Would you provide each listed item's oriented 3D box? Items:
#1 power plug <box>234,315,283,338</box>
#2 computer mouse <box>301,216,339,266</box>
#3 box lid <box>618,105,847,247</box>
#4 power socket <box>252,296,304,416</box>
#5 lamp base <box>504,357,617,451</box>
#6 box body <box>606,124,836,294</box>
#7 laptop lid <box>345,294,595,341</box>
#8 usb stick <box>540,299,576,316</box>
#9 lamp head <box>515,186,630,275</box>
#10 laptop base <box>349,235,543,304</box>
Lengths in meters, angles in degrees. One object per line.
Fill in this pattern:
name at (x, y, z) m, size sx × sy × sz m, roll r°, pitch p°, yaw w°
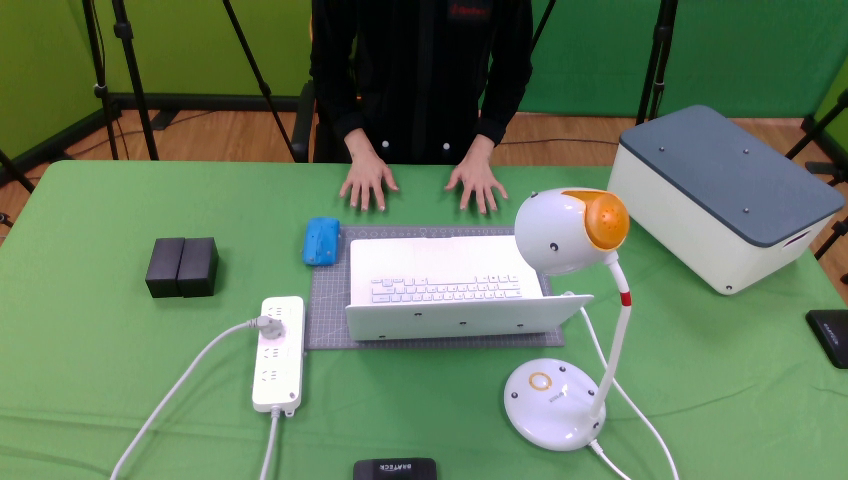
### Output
power plug at (-0.269, 0.143, 1.000) m, size 0.072 × 0.053 × 0.035 m, roll 4°, pitch 47°, yaw 3°
computer mouse at (-0.200, -0.002, 1.169) m, size 0.063 × 0.041 × 0.116 m, roll 3°, pitch 50°, yaw -3°
box lid at (0.587, -0.138, 1.175) m, size 0.263 × 0.015 × 0.369 m, roll -22°, pitch 51°, yaw -22°
power socket at (-0.238, 0.181, 0.997) m, size 0.072 × 0.033 × 0.225 m, roll -3°, pitch 47°, yaw -5°
lamp base at (0.220, 0.211, 0.902) m, size 0.160 × 0.181 × 0.178 m, roll -32°, pitch 59°, yaw -30°
box body at (0.584, -0.088, 1.230) m, size 0.254 × 0.161 × 0.361 m, roll -22°, pitch 52°, yaw -23°
laptop lid at (0.059, 0.124, 0.934) m, size 0.357 × 0.242 × 0.013 m, roll -1°, pitch 69°, yaw -7°
usb stick at (0.239, 0.121, 1.083) m, size 0.059 × 0.027 × 0.021 m, roll -1°, pitch 51°, yaw -2°
lamp head at (0.188, -0.013, 0.728) m, size 0.112 × 0.112 × 0.122 m, roll -25°, pitch 9°, yaw -25°
laptop base at (0.039, 0.081, 1.124) m, size 0.355 × 0.023 × 0.234 m, roll -2°, pitch 43°, yaw -6°
